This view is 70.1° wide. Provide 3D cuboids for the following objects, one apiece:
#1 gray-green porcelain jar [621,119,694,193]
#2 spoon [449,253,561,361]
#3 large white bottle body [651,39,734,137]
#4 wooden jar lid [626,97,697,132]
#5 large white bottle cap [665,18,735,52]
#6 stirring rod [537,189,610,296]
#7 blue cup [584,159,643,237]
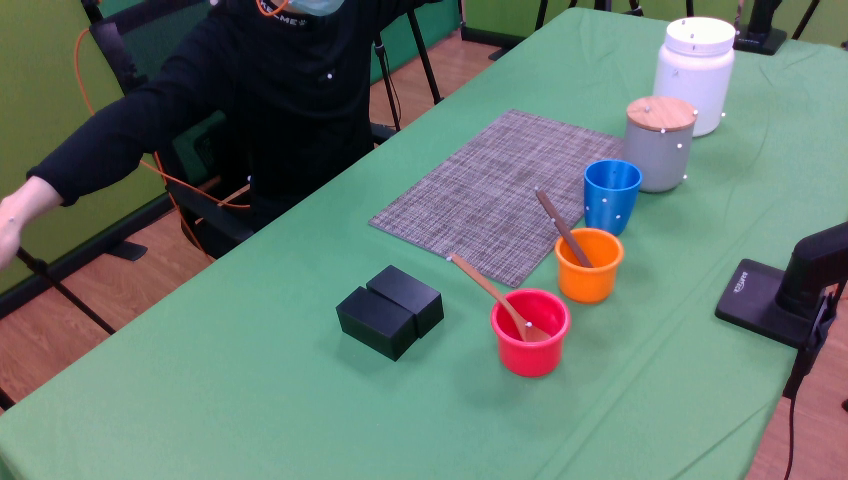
[{"bbox_3d":[0.389,-0.152,1.016,0.106,0.127,0.105,-4,40,4],"label":"gray-green porcelain jar"},{"bbox_3d":[0.103,0.083,0.770,0.194,0.021,0.042,47,51,-7],"label":"spoon"},{"bbox_3d":[0.496,-0.300,1.126,0.130,0.185,0.130,-4,41,4],"label":"large white bottle body"},{"bbox_3d":[0.381,-0.198,0.976,0.108,0.021,0.108,-2,40,3],"label":"wooden jar lid"},{"bbox_3d":[0.488,-0.364,1.071,0.115,0.018,0.114,-4,41,4],"label":"large white bottle cap"},{"bbox_3d":[0.211,0.003,0.855,0.014,0.006,0.176,-32,89,-30],"label":"stirring rod"},{"bbox_3d":[0.289,-0.061,0.944,0.092,0.100,0.092,-3,40,3],"label":"blue cup"}]
